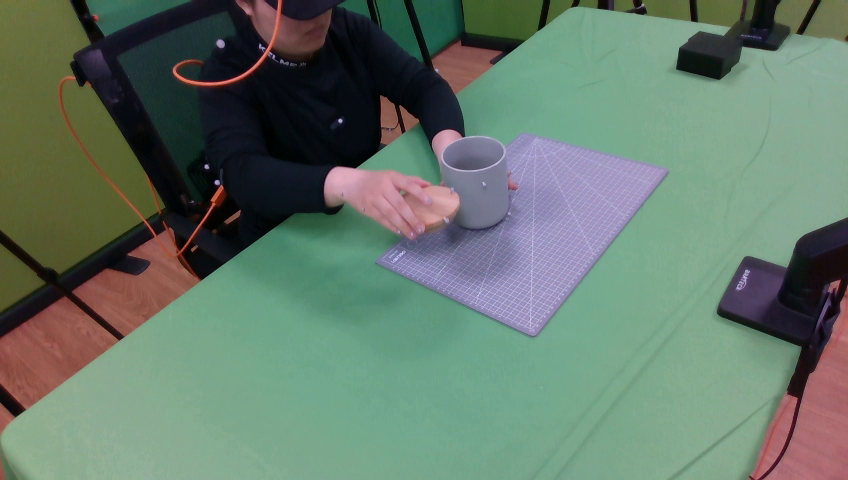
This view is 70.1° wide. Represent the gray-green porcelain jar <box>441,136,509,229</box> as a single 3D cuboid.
[{"bbox_3d":[0.086,-0.090,0.988,0.106,0.127,0.105,-5,40,5],"label":"gray-green porcelain jar"}]

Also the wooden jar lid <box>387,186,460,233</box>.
[{"bbox_3d":[0.001,-0.044,0.883,0.108,0.021,0.108,-8,35,6],"label":"wooden jar lid"}]
